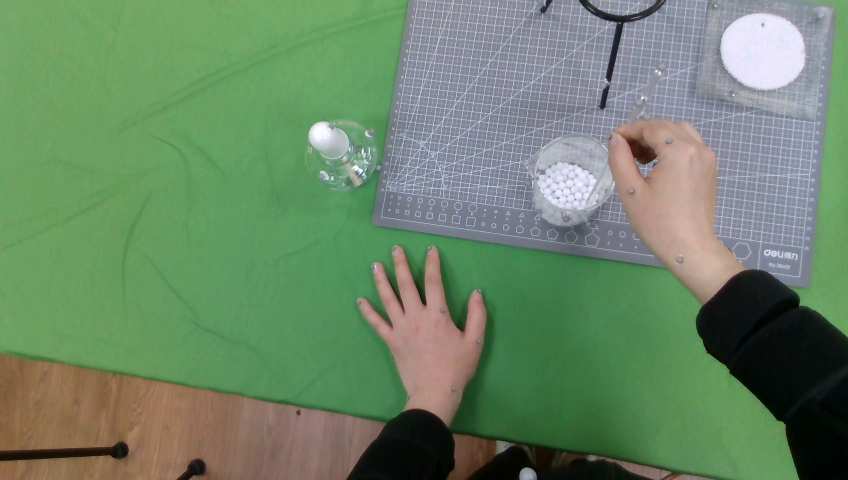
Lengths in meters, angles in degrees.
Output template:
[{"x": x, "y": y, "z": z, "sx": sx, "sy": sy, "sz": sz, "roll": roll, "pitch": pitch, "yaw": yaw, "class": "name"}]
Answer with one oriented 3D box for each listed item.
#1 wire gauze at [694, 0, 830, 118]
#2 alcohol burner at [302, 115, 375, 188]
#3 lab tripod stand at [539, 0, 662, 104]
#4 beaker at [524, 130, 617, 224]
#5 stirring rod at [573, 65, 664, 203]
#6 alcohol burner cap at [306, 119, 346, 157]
[{"x": 0.351, "y": -0.198, "z": 0.631, "sx": 0.125, "sy": 0.011, "sz": 0.121, "roll": 13, "pitch": 84, "yaw": 5, "class": "wire gauze"}, {"x": -0.092, "y": -0.095, "z": 0.621, "sx": 0.078, "sy": 0.119, "sz": 0.077, "roll": -1, "pitch": 81, "yaw": 6, "class": "alcohol burner"}, {"x": 0.181, "y": -0.225, "z": 0.590, "sx": 0.148, "sy": 0.132, "sz": 0.148, "roll": -1, "pitch": 84, "yaw": 5, "class": "lab tripod stand"}, {"x": 0.138, "y": -0.057, "z": 0.593, "sx": 0.084, "sy": 0.100, "sz": 0.074, "roll": 15, "pitch": 84, "yaw": 9, "class": "beaker"}, {"x": 0.154, "y": -0.079, "z": 0.499, "sx": 0.014, "sy": 0.177, "sz": 0.006, "roll": 26, "pitch": 63, "yaw": 9, "class": "stirring rod"}, {"x": -0.097, "y": -0.101, "z": 0.585, "sx": 0.034, "sy": 0.048, "sz": 0.034, "roll": 0, "pitch": 86, "yaw": 7, "class": "alcohol burner cap"}]
